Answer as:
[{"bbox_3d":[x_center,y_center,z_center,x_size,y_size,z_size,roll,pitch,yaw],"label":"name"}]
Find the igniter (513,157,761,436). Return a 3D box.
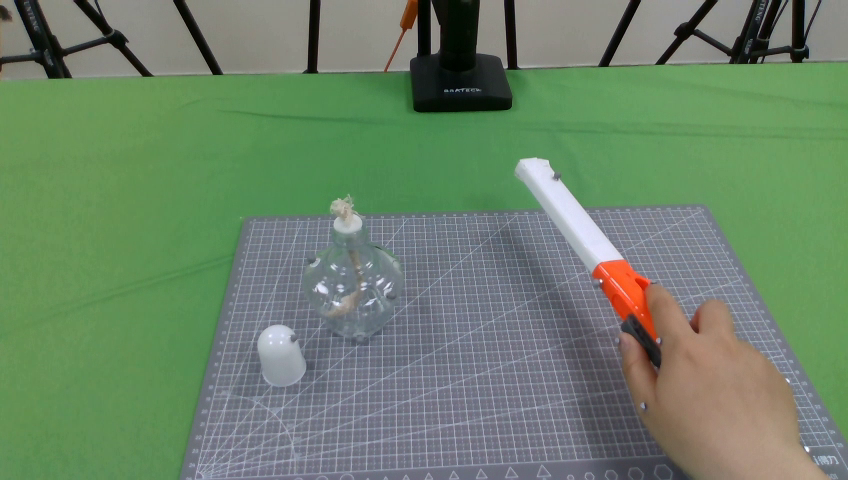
[{"bbox_3d":[0.147,0.028,0.461,0.057,0.025,0.273,-6,48,-28],"label":"igniter"}]

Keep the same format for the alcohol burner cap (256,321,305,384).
[{"bbox_3d":[-0.106,0.079,0.441,0.034,0.048,0.033,1,44,-1],"label":"alcohol burner cap"}]

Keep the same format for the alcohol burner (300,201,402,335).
[{"bbox_3d":[-0.055,0.016,0.456,0.078,0.120,0.077,2,44,-2],"label":"alcohol burner"}]
